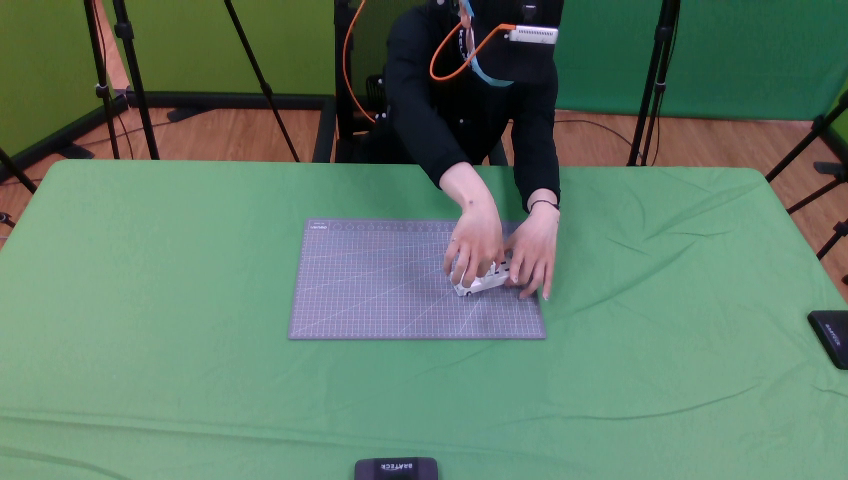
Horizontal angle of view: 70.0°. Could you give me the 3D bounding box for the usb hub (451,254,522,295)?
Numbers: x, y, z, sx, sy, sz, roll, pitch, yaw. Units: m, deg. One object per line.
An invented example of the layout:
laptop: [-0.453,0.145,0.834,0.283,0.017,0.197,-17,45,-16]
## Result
usb hub: [0.116,0.065,1.132,0.125,0.025,0.049,-15,49,-15]

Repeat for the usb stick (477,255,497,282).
usb stick: [0.113,0.056,1.099,0.021,0.059,0.027,-12,52,-24]
